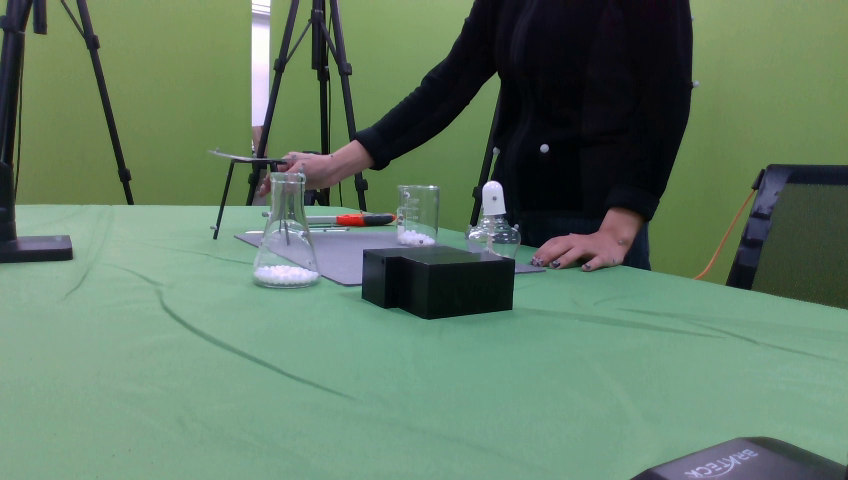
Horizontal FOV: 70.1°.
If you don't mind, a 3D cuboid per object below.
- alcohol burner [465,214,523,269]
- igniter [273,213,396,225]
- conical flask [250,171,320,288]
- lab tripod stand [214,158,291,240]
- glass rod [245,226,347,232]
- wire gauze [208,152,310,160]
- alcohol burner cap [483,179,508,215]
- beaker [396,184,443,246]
[{"bbox_3d":[0.094,-0.022,0.815,0.078,0.119,0.078,0,7,0],"label":"alcohol burner"},{"bbox_3d":[-0.179,-0.044,1.258,0.278,0.025,0.057,-3,-2,-39],"label":"igniter"},{"bbox_3d":[-0.150,-0.013,0.658,0.075,0.122,0.075,2,7,0],"label":"conical flask"},{"bbox_3d":[-0.268,-0.068,1.002,0.148,0.131,0.148,3,6,0],"label":"lab tripod stand"},{"bbox_3d":[-0.237,-0.022,1.141,0.201,0.008,0.008,-2,8,-33],"label":"glass rod"},{"bbox_3d":[-0.270,-0.135,0.993,0.124,0.011,0.122,8,8,41],"label":"wire gauze"},{"bbox_3d":[0.094,-0.057,0.810,0.034,0.048,0.034,-8,6,1],"label":"alcohol burner cap"},{"bbox_3d":[-0.011,-0.043,1.004,0.083,0.100,0.074,8,9,39],"label":"beaker"}]
